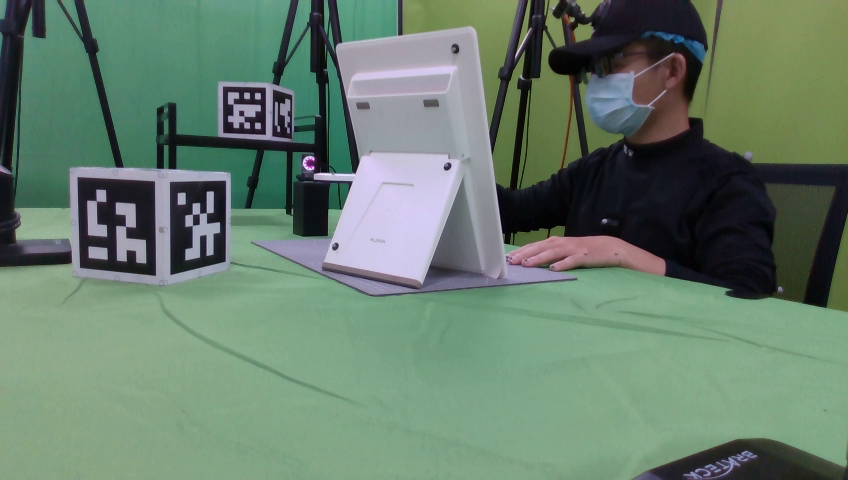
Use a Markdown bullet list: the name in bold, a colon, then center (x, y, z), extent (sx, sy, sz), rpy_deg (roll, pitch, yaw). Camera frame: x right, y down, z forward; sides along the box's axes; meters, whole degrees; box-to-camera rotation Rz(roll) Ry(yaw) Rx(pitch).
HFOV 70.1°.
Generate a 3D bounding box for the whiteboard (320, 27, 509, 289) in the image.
- **whiteboard**: center (-0.045, -0.076, 0.721), extent (0.216, 0.305, 0.144), rpy_deg (9, 29, 39)

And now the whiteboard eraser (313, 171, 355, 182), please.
- **whiteboard eraser**: center (-0.164, -0.122, 1.163), extent (0.102, 0.019, 0.041), rpy_deg (0, 7, -27)
